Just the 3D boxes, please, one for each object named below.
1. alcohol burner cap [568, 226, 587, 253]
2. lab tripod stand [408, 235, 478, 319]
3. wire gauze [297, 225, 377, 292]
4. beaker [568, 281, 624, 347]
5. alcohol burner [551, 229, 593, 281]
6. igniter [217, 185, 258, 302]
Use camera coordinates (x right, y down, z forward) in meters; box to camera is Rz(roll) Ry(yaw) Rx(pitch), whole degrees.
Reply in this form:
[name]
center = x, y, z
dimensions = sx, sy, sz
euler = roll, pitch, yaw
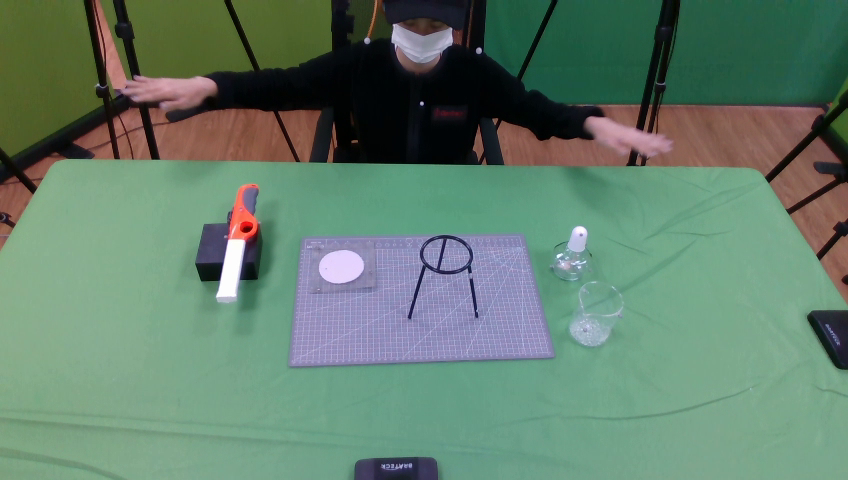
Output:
[alcohol burner cap]
center = 0.284, -0.003, 1.112
dimensions = 0.034, 0.048, 0.033
euler = 1, 41, -1
[lab tripod stand]
center = 0.032, 0.065, 1.057
dimensions = 0.148, 0.132, 0.147
euler = 1, 45, -1
[wire gauze]
center = -0.165, 0.034, 1.137
dimensions = 0.125, 0.011, 0.120
euler = -21, 53, -15
[beaker]
center = 0.290, 0.132, 1.041
dimensions = 0.084, 0.101, 0.073
euler = -34, 57, -31
[alcohol burner]
center = 0.281, 0.021, 1.137
dimensions = 0.078, 0.120, 0.077
euler = 1, 48, -1
[igniter]
center = -0.339, -0.003, 1.106
dimensions = 0.057, 0.025, 0.274
euler = 1, 49, -6
